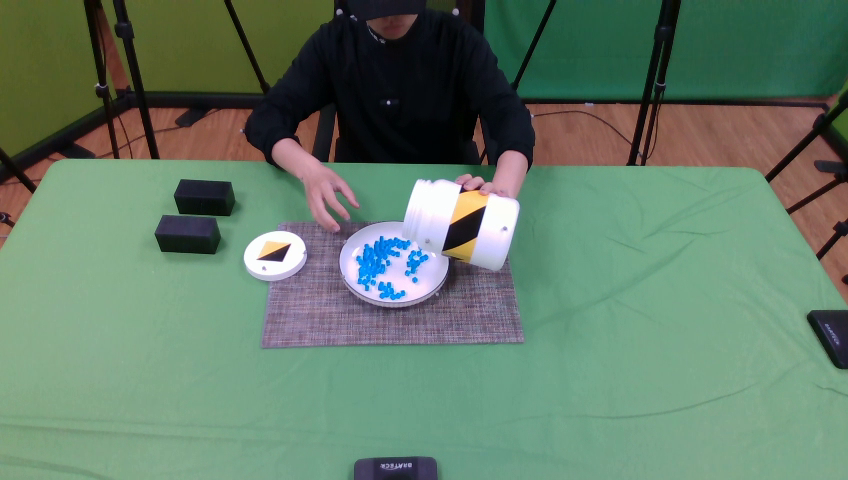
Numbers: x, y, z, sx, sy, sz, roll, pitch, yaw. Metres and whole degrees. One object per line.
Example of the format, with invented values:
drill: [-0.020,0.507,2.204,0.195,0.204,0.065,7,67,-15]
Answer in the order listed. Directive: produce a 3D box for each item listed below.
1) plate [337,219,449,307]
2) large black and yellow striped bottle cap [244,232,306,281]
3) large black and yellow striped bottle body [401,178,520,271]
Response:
plate: [-0.057,0.045,1.133,0.208,0.039,0.206,2,46,-2]
large black and yellow striped bottle cap: [-0.282,0.030,1.146,0.115,0.019,0.114,-1,45,1]
large black and yellow striped bottle body: [0.063,-0.031,1.056,0.184,0.131,0.130,16,47,3]
